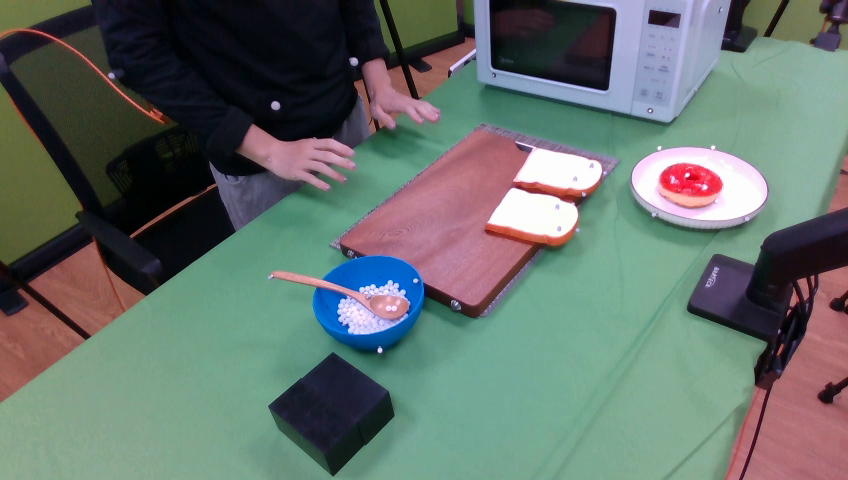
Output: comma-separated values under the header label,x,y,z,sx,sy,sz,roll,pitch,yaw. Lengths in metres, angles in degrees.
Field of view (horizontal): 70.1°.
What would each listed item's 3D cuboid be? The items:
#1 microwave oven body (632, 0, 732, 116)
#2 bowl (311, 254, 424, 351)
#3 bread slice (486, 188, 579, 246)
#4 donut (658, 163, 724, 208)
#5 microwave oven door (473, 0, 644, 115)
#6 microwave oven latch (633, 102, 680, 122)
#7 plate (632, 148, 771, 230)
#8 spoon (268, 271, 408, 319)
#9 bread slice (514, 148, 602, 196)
label,x,y,z,sx,sy,sz,roll,pitch,yaw
microwave oven body,0.377,-0.462,1.267,0.438,0.261,0.327,21,48,30
bowl,-0.071,0.098,0.821,0.151,0.077,0.150,-4,40,4
bread slice,0.176,-0.037,0.946,0.131,0.019,0.105,15,47,24
donut,0.432,-0.090,0.982,0.099,0.048,0.098,-3,38,3
microwave oven door,0.257,-0.396,1.199,0.353,0.245,0.039,21,48,29
microwave oven latch,0.444,-0.249,1.157,0.078,0.029,0.030,21,49,30
plate,0.447,-0.081,0.988,0.207,0.039,0.206,-4,40,4
spoon,-0.116,0.069,0.813,0.194,0.021,0.041,18,39,1
bread slice,0.232,-0.115,1.027,0.133,0.018,0.107,13,45,20
